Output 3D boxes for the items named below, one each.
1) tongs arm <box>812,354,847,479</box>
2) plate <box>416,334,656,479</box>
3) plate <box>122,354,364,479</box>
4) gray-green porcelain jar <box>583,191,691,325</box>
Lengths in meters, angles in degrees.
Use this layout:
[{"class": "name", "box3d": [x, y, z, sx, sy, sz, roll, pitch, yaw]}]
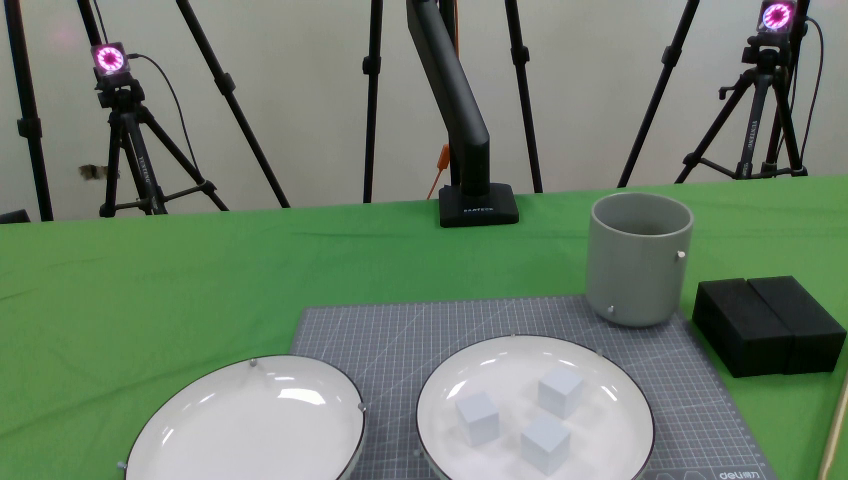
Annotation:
[{"class": "tongs arm", "box3d": [0.422, 0.126, 0.586, 0.028, 0.028, 0.387, 22, 40, 33]}, {"class": "plate", "box3d": [0.098, 0.165, 0.546, 0.207, 0.039, 0.206, -3, 30, 2]}, {"class": "plate", "box3d": [-0.155, 0.185, 0.544, 0.209, 0.038, 0.207, -4, 30, 3]}, {"class": "gray-green porcelain jar", "box3d": [0.235, 0.023, 0.681, 0.106, 0.127, 0.105, -3, 31, 2]}]
